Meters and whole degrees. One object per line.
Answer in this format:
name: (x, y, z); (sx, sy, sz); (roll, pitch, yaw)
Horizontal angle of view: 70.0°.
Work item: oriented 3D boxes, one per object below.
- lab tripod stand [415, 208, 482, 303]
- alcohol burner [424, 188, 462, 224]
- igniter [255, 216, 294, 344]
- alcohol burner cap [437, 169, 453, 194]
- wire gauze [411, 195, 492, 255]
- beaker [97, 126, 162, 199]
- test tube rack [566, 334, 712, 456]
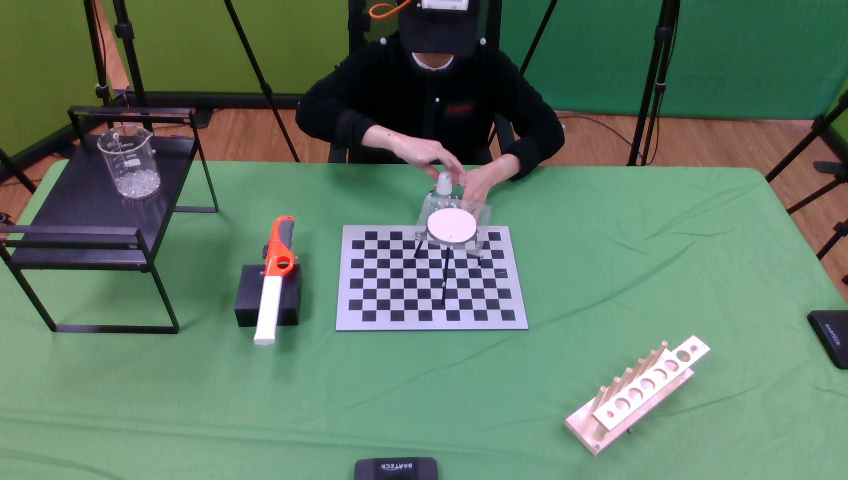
lab tripod stand: (0.043, 0.018, 1.097); (0.148, 0.132, 0.147); (1, 46, 0)
alcohol burner: (0.041, -0.089, 1.220); (0.078, 0.119, 0.077); (4, 45, -3)
igniter: (-0.258, 0.059, 1.051); (0.057, 0.025, 0.274); (2, 48, -6)
alcohol burner cap: (0.044, -0.117, 1.193); (0.034, 0.048, 0.033); (4, 39, -3)
wire gauze: (0.049, -0.031, 1.051); (0.125, 0.011, 0.121); (11, 47, 9)
beaker: (-0.468, -0.124, 0.979); (0.084, 0.101, 0.073); (-25, 53, -26)
test tube rack: (0.338, 0.228, 0.951); (0.242, 0.085, 0.066); (-26, 52, -26)
